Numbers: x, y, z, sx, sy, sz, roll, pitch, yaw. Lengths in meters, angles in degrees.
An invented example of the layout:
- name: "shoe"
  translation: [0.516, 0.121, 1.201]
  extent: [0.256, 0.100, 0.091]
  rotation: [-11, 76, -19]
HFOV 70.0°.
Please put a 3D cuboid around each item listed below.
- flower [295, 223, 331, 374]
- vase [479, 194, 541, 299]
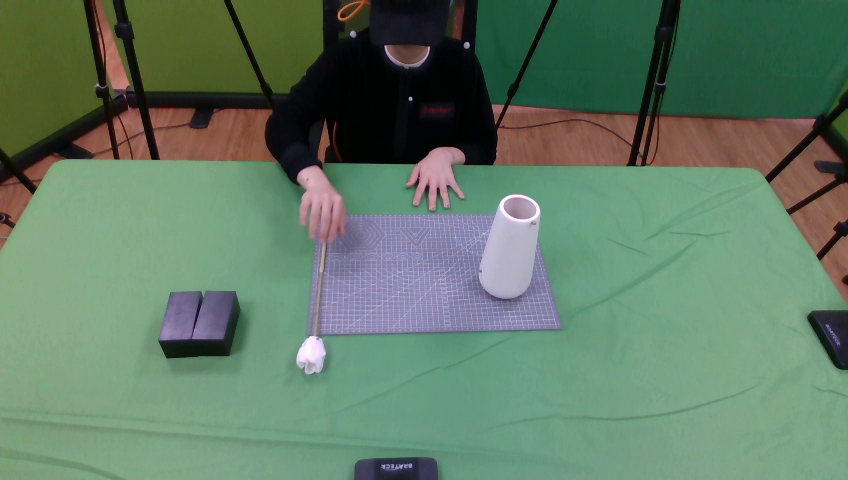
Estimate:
- name: "flower"
  translation: [-0.190, 0.087, 1.104]
  extent: [0.044, 0.038, 0.359]
  rotation: [28, 36, -23]
- name: "vase"
  translation: [0.152, 0.015, 1.066]
  extent: [0.098, 0.201, 0.097]
  rotation: [1, 47, -1]
